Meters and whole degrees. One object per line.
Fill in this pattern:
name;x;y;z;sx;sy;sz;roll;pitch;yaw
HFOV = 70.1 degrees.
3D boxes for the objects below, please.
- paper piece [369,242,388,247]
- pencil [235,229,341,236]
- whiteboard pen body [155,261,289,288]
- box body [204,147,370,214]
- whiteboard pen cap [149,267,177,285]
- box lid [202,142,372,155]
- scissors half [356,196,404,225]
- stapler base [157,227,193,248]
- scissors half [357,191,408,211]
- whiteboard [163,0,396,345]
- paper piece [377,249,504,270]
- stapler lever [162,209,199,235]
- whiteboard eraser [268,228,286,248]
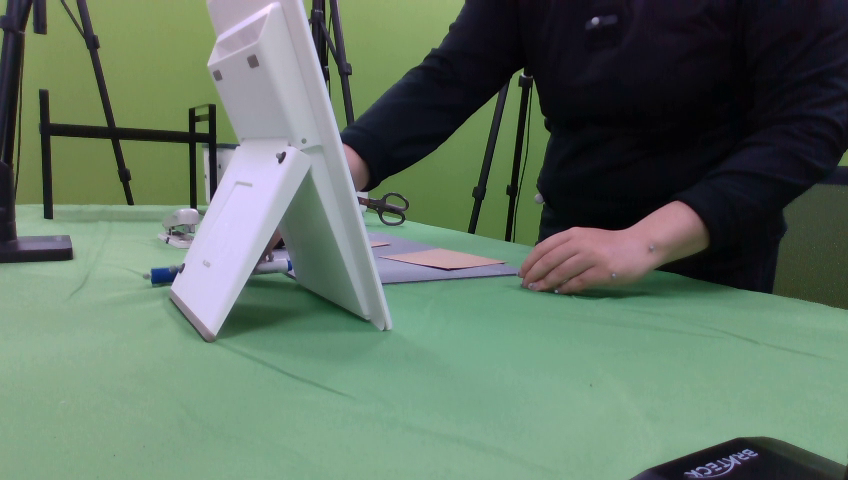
paper piece;-0.151;0.003;0.978;0.135;0.008;0.139;13;10;35
pencil;-0.232;-0.012;1.053;0.195;0.012;0.012;0;8;-36
whiteboard pen body;-0.218;0.040;0.661;0.141;0.017;0.017;-8;12;-27
box body;-0.346;-0.152;1.520;0.366;0.160;0.253;-1;9;-32
whiteboard pen cap;-0.269;0.037;0.632;0.033;0.018;0.018;-6;11;-31
box lid;-0.344;-0.225;1.509;0.373;0.015;0.262;-2;8;-31
scissors half;-0.127;-0.072;1.322;0.175;0.040;0.013;22;9;-5
stapler base;-0.376;-0.007;0.934;0.041;0.024;0.130;1;5;-38
scissors half;-0.122;-0.091;1.317;0.175;0.040;0.013;6;15;-2
whiteboard;-0.173;-0.053;0.510;0.144;0.305;0.216;-23;19;-26
paper piece;0.025;0.026;0.865;0.134;0.004;0.136;10;10;43
stapler lever;-0.376;-0.031;0.933;0.027;0.040;0.117;1;7;-38
whiteboard eraser;-0.253;-0.008;0.886;0.055;0.042;0.113;11;12;42
